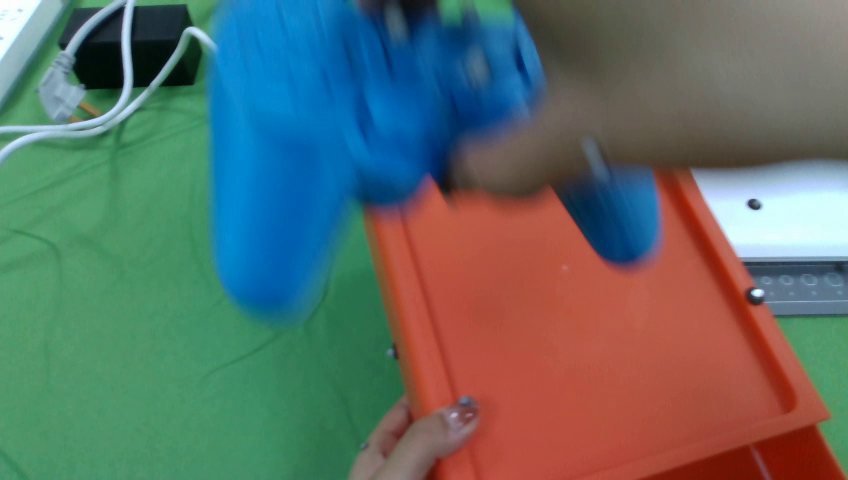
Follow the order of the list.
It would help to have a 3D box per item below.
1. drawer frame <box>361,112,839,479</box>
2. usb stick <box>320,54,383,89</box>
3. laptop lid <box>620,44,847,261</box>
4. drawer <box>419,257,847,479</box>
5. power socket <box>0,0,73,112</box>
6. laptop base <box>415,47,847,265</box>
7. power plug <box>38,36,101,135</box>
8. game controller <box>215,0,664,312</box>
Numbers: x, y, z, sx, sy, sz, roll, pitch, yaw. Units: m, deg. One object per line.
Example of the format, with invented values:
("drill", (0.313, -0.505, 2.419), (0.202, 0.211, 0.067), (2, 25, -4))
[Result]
("drawer frame", (0.081, 0.041, 0.358), (0.202, 0.083, 0.211), (-13, 61, -10))
("usb stick", (-0.063, -0.152, 0.545), (0.059, 0.027, 0.021), (-15, 32, -36))
("laptop lid", (0.170, -0.082, 0.492), (0.357, 0.013, 0.239), (1, 57, 1))
("drawer", (0.105, 0.111, 0.320), (0.195, 0.074, 0.209), (-11, 60, -10))
("power socket", (-0.404, -0.194, 0.574), (0.072, 0.033, 0.224), (3, 54, 0))
("laptop base", (0.170, -0.076, 0.503), (0.354, 0.023, 0.233), (0, 58, -1))
("power plug", (-0.288, -0.126, 0.508), (0.072, 0.053, 0.035), (-53, 36, 0))
("game controller", (0.011, -0.035, 0.197), (0.156, 0.052, 0.096), (-5, 67, -21))
